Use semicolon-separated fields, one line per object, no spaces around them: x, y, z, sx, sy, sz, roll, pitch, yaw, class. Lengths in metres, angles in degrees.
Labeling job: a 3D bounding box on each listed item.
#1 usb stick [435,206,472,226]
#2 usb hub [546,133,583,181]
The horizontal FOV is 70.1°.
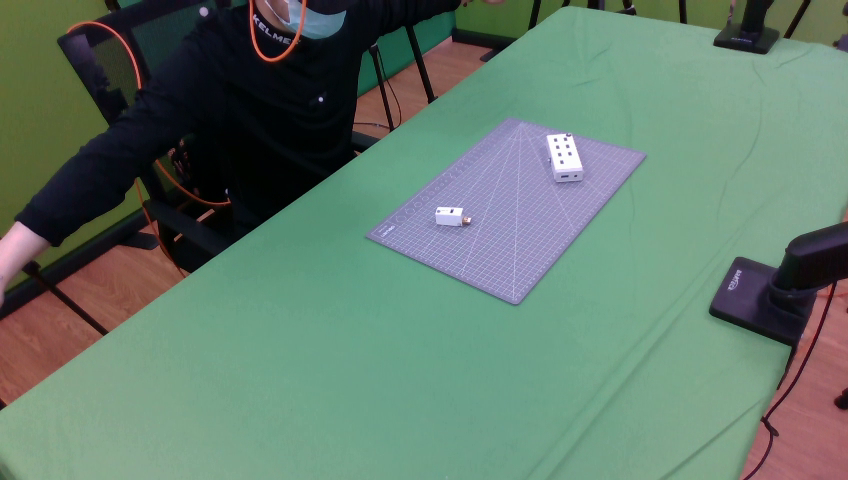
0.050;-0.039;0.999;0.059;0.027;0.021;7;41;12;usb stick
0.256;-0.152;1.103;0.049;0.025;0.124;-3;41;4;usb hub
